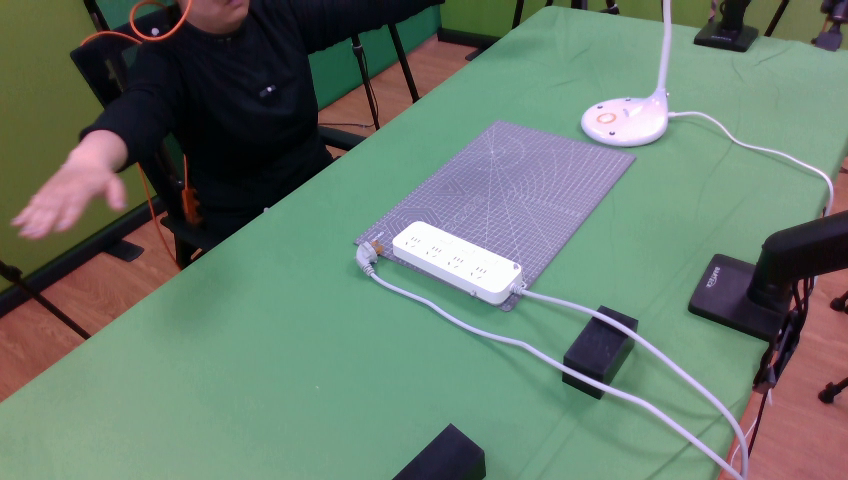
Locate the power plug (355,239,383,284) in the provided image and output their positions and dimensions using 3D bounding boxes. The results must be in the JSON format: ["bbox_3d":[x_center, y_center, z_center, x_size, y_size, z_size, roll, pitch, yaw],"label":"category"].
[{"bbox_3d":[-0.078,0.033,0.947,0.053,0.035,0.072,-34,82,-22],"label":"power plug"}]

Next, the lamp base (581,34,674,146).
[{"bbox_3d":[0.392,-0.291,1.129,0.180,0.181,0.159,-11,41,-8],"label":"lamp base"}]

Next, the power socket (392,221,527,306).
[{"bbox_3d":[0.046,0.031,0.912,0.225,0.033,0.072,25,51,32],"label":"power socket"}]
